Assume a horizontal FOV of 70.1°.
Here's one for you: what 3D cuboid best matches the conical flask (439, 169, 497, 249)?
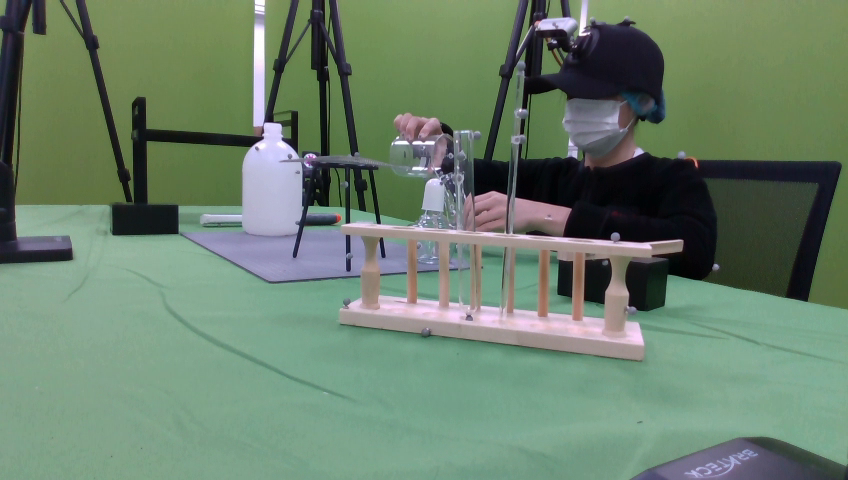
[{"bbox_3d":[0.061,-0.053,0.971,0.075,0.121,0.075,-23,-10,-4],"label":"conical flask"}]

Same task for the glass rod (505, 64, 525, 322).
[{"bbox_3d":[0.069,-0.030,0.458,0.008,0.199,0.008,0,15,0],"label":"glass rod"}]

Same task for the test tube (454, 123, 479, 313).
[{"bbox_3d":[0.034,-0.016,0.477,0.017,0.150,0.017,-2,9,1],"label":"test tube"}]

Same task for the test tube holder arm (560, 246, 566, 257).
[{"bbox_3d":[0.173,0.007,0.611,0.088,0.015,0.010,-3,9,-30],"label":"test tube holder arm"}]

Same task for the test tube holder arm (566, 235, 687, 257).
[{"bbox_3d":[0.215,0.006,0.630,0.179,0.015,0.013,-3,9,-30],"label":"test tube holder arm"}]

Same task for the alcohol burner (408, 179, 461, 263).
[{"bbox_3d":[0.014,-0.029,0.834,0.078,0.119,0.078,0,6,0],"label":"alcohol burner"}]

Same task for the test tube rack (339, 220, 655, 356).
[{"bbox_3d":[0.056,0.032,0.495,0.242,0.085,0.067,4,7,15],"label":"test tube rack"}]

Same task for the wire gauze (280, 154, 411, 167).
[{"bbox_3d":[-0.102,-0.104,0.785,0.121,0.011,0.126,8,8,42],"label":"wire gauze"}]

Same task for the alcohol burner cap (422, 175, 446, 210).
[{"bbox_3d":[0.016,-0.065,0.830,0.034,0.048,0.034,7,4,0],"label":"alcohol burner cap"}]

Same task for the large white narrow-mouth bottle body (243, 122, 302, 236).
[{"bbox_3d":[-0.264,-0.109,1.061,0.102,0.194,0.102,2,8,0],"label":"large white narrow-mouth bottle body"}]

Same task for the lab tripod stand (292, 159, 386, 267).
[{"bbox_3d":[-0.105,-0.039,0.797,0.148,0.131,0.148,2,5,0],"label":"lab tripod stand"}]

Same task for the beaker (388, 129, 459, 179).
[{"bbox_3d":[-0.002,-0.142,1.007,0.100,0.084,0.074,7,6,37],"label":"beaker"}]

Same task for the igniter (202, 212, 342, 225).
[{"bbox_3d":[-0.298,-0.043,1.216,0.278,0.025,0.057,-3,-2,-32],"label":"igniter"}]

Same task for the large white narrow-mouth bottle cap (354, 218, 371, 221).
[{"bbox_3d":[-0.120,-0.029,1.184,0.038,0.024,0.037,2,8,0],"label":"large white narrow-mouth bottle cap"}]
